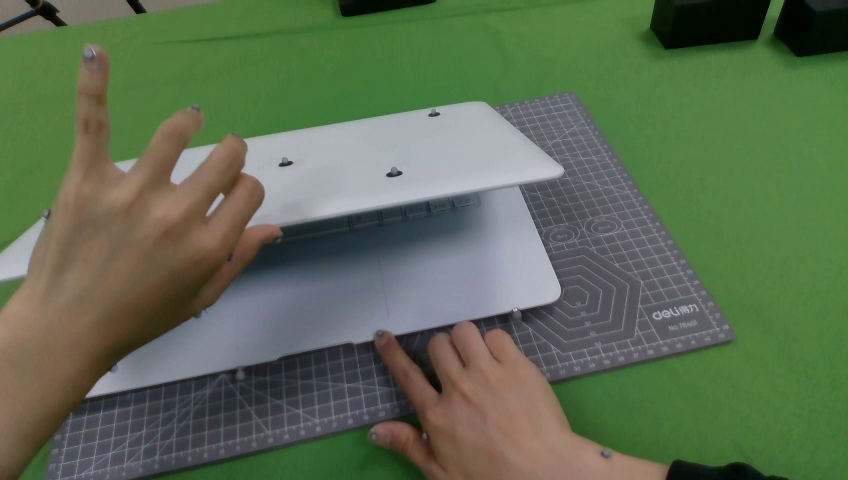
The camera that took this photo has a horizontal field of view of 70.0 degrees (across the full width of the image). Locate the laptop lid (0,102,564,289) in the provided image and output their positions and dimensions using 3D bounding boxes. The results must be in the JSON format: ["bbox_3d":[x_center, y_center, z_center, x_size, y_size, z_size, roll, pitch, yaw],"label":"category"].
[{"bbox_3d":[-0.101,-0.050,0.450,0.357,0.013,0.239,-10,24,-3],"label":"laptop lid"}]

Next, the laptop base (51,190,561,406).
[{"bbox_3d":[-0.094,-0.004,0.488,0.355,0.023,0.233,-11,51,-4],"label":"laptop base"}]
